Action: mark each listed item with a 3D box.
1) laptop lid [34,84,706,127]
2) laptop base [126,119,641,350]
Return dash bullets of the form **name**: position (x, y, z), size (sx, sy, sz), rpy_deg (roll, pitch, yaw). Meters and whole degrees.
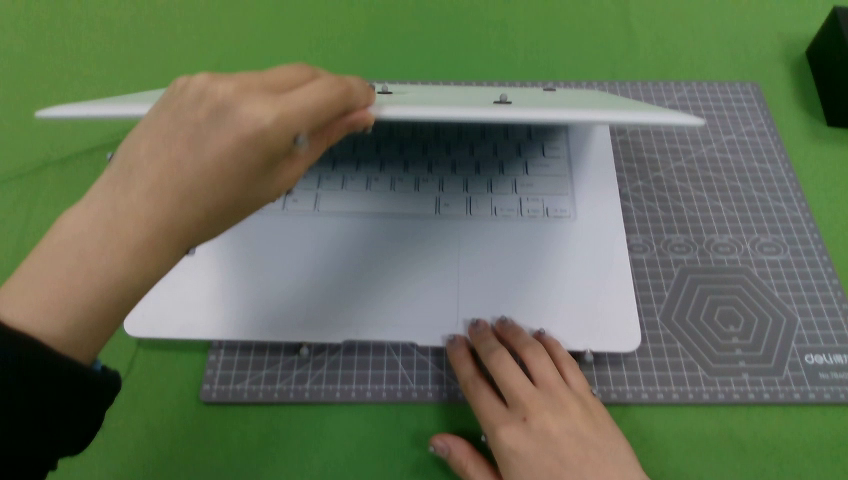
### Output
- **laptop lid**: position (-0.026, -0.097, 0.416), size (0.356, 0.013, 0.240), rpy_deg (2, 17, 3)
- **laptop base**: position (-0.026, -0.026, 0.472), size (0.354, 0.023, 0.233), rpy_deg (1, 60, 1)
